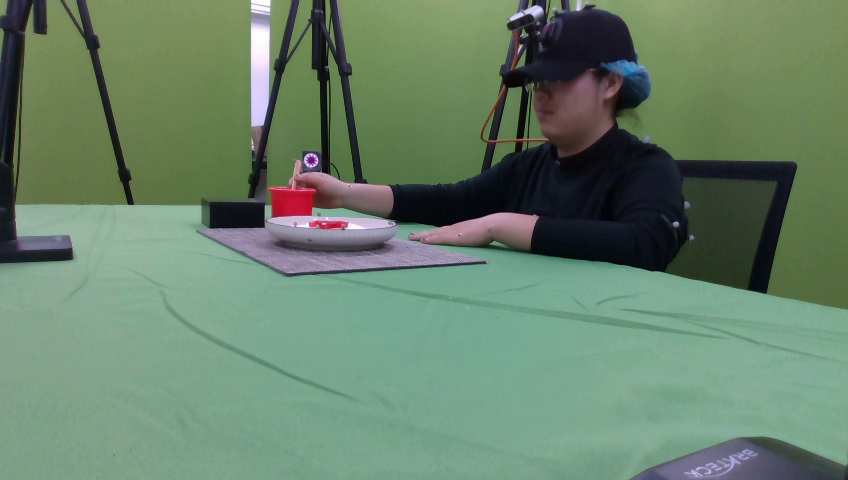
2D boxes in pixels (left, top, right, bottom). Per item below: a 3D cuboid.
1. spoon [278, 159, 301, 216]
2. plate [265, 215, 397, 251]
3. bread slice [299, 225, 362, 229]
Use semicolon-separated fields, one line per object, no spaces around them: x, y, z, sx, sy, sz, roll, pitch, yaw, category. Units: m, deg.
-0.276;-0.108;1.278;0.042;0.021;0.193;4;51;-5;spoon
-0.147;-0.012;0.963;0.209;0.038;0.209;3;7;0;plate
-0.154;-0.012;0.973;0.132;0.019;0.104;-1;7;-31;bread slice
